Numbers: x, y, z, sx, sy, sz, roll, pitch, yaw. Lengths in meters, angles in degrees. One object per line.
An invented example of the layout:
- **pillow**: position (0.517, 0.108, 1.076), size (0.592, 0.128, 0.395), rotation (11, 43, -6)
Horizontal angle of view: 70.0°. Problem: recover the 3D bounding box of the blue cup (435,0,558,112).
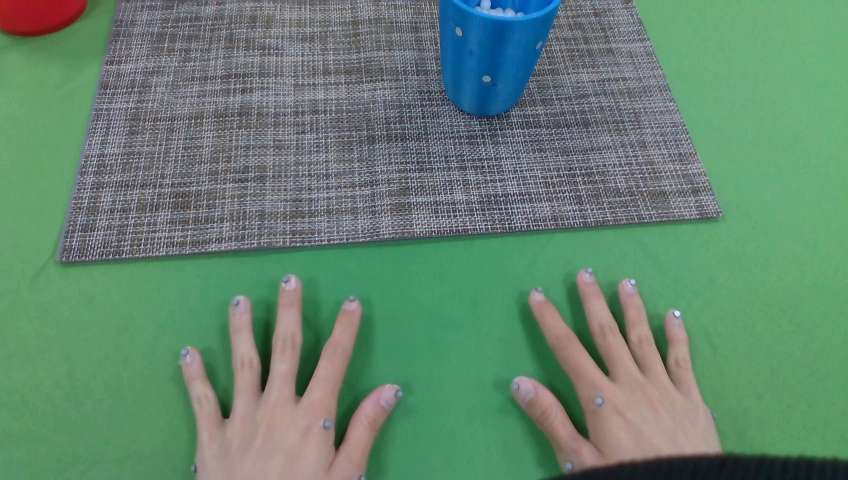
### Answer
- **blue cup**: position (0.047, -0.149, 0.439), size (0.093, 0.101, 0.092), rotation (2, 59, -3)
